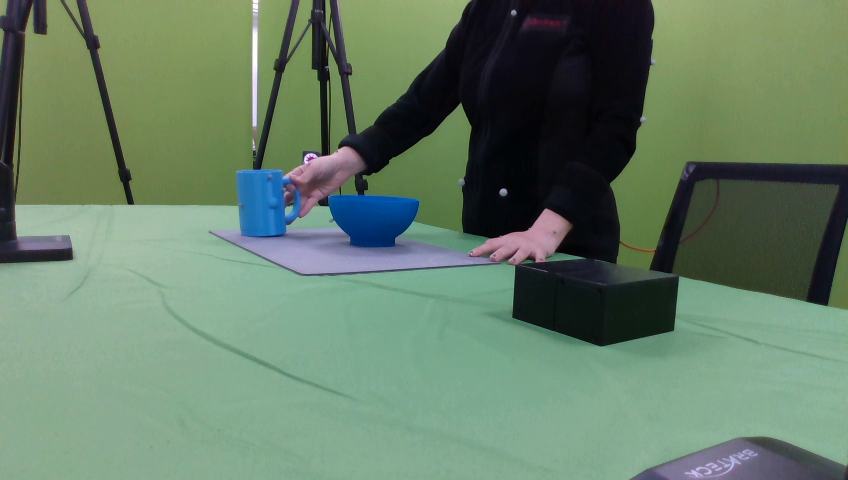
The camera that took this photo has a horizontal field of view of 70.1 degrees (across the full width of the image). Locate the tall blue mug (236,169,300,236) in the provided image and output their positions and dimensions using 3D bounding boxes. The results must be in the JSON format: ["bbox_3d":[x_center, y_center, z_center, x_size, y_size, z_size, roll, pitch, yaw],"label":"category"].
[{"bbox_3d":[-0.273,-0.068,1.052,0.077,0.108,0.107,0,10,16],"label":"tall blue mug"}]

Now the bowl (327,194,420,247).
[{"bbox_3d":[-0.083,-0.032,0.987,0.151,0.077,0.151,2,7,0],"label":"bowl"}]
